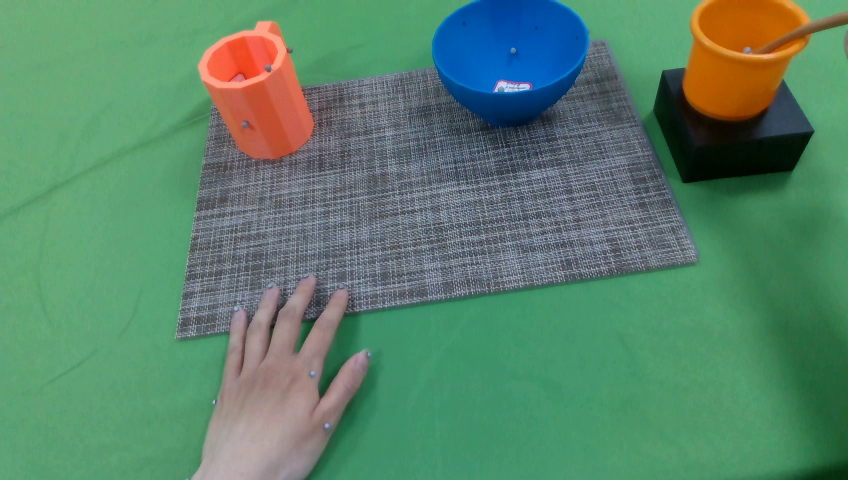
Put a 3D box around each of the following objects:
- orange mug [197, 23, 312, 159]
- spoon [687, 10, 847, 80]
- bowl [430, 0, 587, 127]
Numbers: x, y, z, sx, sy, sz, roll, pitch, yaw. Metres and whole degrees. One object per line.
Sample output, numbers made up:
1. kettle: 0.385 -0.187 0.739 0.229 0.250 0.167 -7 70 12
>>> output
1. orange mug: -0.168 -0.161 0.627 0.083 0.102 0.125 2 60 9
2. spoon: 0.292 -0.159 0.475 0.041 0.193 0.022 -34 100 -23
3. bowl: 0.084 -0.168 0.611 0.151 0.077 0.150 -3 55 5
